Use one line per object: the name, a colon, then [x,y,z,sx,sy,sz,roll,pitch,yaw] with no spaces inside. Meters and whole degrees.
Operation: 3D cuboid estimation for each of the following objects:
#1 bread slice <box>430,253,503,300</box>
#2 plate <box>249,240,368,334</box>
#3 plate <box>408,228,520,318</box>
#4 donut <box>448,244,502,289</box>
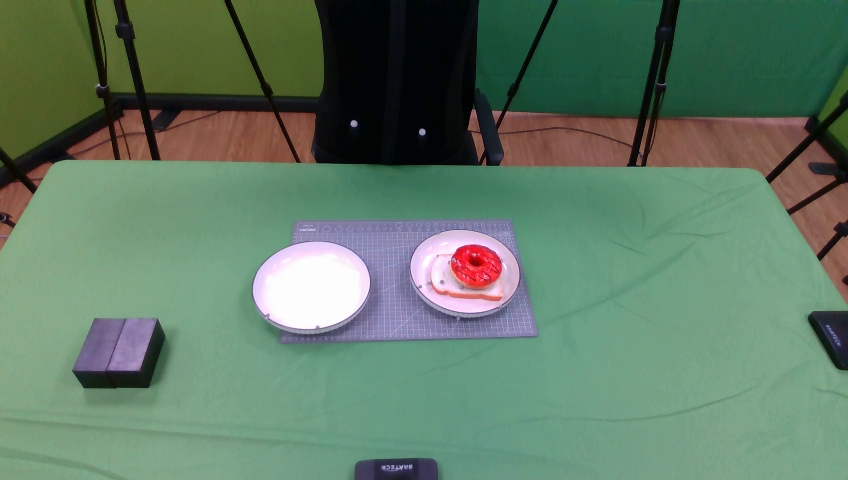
bread slice: [0.078,0.067,1.125,0.134,0.018,0.106,0,45,-2]
plate: [-0.204,0.086,1.084,0.208,0.039,0.206,2,46,-2]
plate: [0.074,0.063,1.128,0.209,0.038,0.208,2,46,-2]
donut: [0.092,0.048,1.105,0.099,0.048,0.098,3,45,-3]
